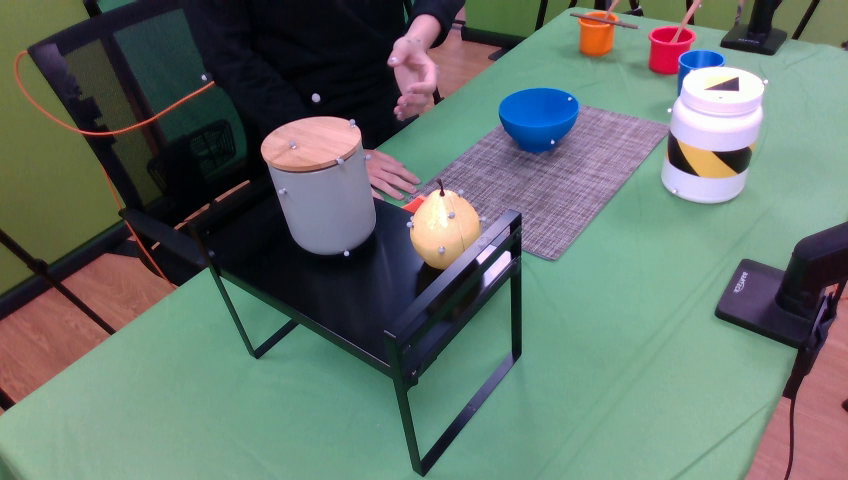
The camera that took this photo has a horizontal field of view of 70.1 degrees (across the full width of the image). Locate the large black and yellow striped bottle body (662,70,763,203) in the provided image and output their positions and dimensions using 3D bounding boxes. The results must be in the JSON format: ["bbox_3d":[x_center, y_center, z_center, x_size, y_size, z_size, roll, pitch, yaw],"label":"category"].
[{"bbox_3d":[0.464,-0.166,0.976,0.131,0.185,0.130,-5,41,5],"label":"large black and yellow striped bottle body"}]

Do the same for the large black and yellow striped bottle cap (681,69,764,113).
[{"bbox_3d":[0.453,-0.229,0.921,0.115,0.019,0.114,-4,39,4],"label":"large black and yellow striped bottle cap"}]

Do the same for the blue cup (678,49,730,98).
[{"bbox_3d":[0.542,-0.310,1.194,0.092,0.101,0.092,-6,41,6],"label":"blue cup"}]

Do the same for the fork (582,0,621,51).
[{"bbox_3d":[0.446,-0.538,1.438,0.207,0.019,0.028,-57,36,12],"label":"fork"}]

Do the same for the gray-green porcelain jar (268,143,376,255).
[{"bbox_3d":[-0.114,-0.055,0.704,0.106,0.127,0.105,-4,40,4],"label":"gray-green porcelain jar"}]

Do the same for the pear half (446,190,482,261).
[{"bbox_3d":[0.046,-0.020,0.665,0.031,0.088,0.070,-17,38,-8],"label":"pear half"}]

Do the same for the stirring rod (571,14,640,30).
[{"bbox_3d":[0.419,-0.508,1.404,0.174,0.006,0.014,28,55,35],"label":"stirring rod"}]

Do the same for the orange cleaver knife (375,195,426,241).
[{"bbox_3d":[-0.037,-0.029,0.973,0.210,0.077,0.012,-8,33,50],"label":"orange cleaver knife"}]

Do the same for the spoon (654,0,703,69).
[{"bbox_3d":[0.569,-0.462,1.335,0.041,0.022,0.193,34,99,37],"label":"spoon"}]

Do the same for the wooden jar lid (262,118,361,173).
[{"bbox_3d":[-0.122,-0.101,0.663,0.108,0.021,0.108,-3,39,3],"label":"wooden jar lid"}]

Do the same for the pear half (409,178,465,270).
[{"bbox_3d":[0.010,-0.019,0.654,0.056,0.110,0.076,-17,37,-9],"label":"pear half"}]

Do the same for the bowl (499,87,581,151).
[{"bbox_3d":[0.221,-0.223,1.156,0.151,0.077,0.150,-4,40,4],"label":"bowl"}]
